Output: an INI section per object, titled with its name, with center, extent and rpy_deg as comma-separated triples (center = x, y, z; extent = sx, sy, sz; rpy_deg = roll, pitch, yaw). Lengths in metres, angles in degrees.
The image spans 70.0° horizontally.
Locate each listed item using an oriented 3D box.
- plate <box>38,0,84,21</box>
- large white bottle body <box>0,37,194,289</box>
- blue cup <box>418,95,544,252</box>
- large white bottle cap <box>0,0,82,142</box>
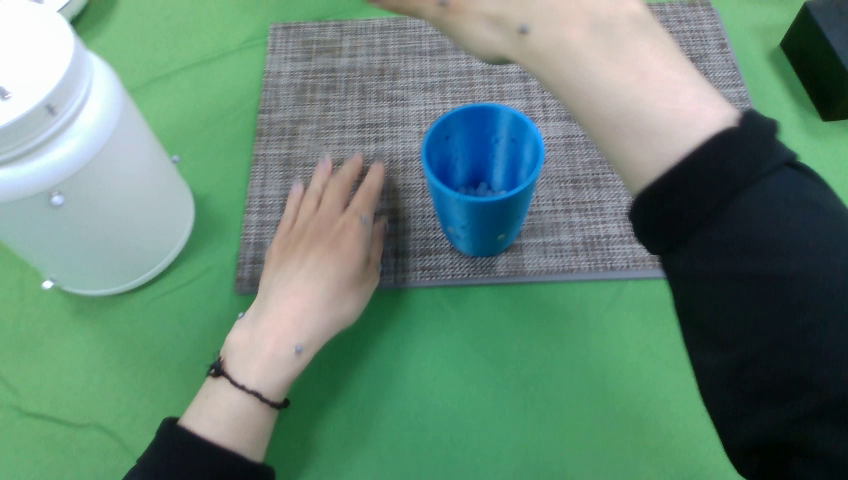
[plate]
center = -0.447, -0.266, 0.637
extent = 0.207, 0.039, 0.206
rpy_deg = -1, 61, 2
[large white bottle body]
center = -0.260, -0.058, 0.430
extent = 0.130, 0.186, 0.129
rpy_deg = -1, 61, 2
[blue cup]
center = 0.042, -0.040, 0.452
extent = 0.092, 0.101, 0.092
rpy_deg = -2, 60, 3
[large white bottle cap]
center = -0.263, -0.101, 0.357
extent = 0.115, 0.018, 0.114
rpy_deg = -1, 61, 2
